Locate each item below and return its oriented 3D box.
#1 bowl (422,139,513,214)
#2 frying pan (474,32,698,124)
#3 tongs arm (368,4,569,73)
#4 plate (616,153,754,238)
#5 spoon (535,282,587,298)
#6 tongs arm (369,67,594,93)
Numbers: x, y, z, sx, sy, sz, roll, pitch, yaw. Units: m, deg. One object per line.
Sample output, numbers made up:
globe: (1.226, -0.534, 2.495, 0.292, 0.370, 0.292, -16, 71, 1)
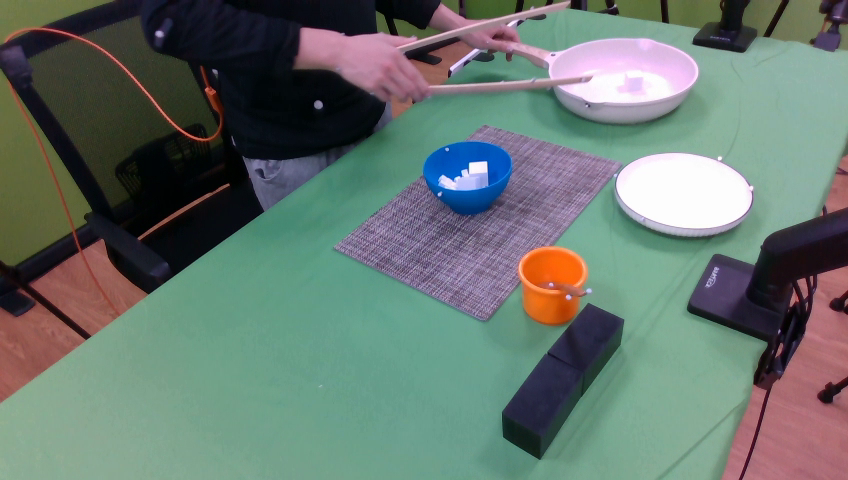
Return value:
bowl: (0.075, -0.098, 1.021, 0.151, 0.077, 0.150, -4, 41, 4)
frying pan: (0.320, -0.371, 1.290, 0.485, 0.103, 0.307, 27, 50, 22)
tongs arm: (0.082, -0.343, 1.010, 0.389, 0.028, 0.027, -21, -2, -19)
plate: (0.416, -0.069, 0.977, 0.207, 0.039, 0.206, -4, 40, 4)
spoon: (0.176, 0.063, 0.774, 0.041, 0.194, 0.021, -3, 85, 1)
tongs arm: (0.103, -0.272, 0.998, 0.387, 0.026, 0.050, -10, 82, -17)
